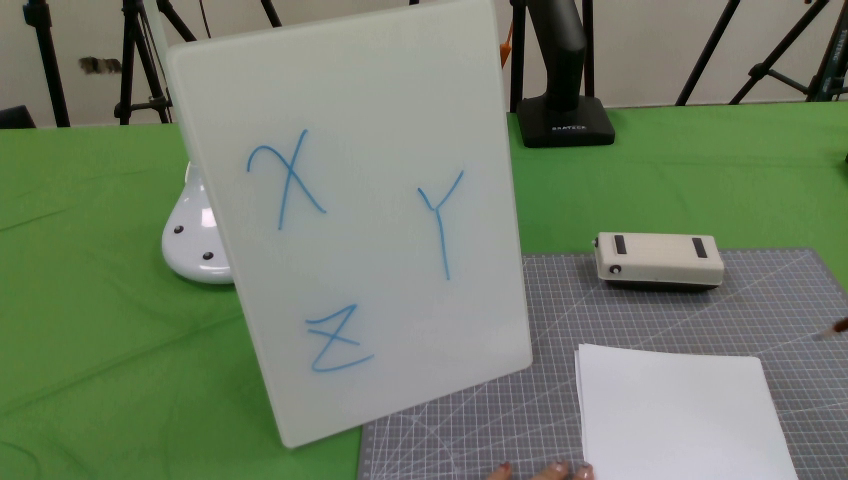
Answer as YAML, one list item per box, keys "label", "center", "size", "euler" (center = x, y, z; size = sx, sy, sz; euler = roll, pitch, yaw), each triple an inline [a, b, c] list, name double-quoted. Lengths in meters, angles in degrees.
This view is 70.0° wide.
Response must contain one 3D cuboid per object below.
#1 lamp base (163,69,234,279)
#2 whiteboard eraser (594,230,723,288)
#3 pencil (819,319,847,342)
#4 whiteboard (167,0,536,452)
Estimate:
- label: "lamp base"
  center: [-0.217, -0.077, 0.628]
  size: [0.177, 0.182, 0.160]
  euler: [27, 48, 34]
- label: "whiteboard eraser"
  center: [0.227, 0.019, 0.592]
  size: [0.112, 0.042, 0.055]
  euler: [3, 41, 7]
- label: "pencil"
  center: [0.305, 0.016, 0.348]
  size: [0.012, 0.195, 0.012]
  euler: [10, 53, -14]
- label: "whiteboard"
  center: [-0.049, -0.023, 0.501]
  size: [0.217, 0.307, 0.142]
  euler: [-15, 22, -13]
